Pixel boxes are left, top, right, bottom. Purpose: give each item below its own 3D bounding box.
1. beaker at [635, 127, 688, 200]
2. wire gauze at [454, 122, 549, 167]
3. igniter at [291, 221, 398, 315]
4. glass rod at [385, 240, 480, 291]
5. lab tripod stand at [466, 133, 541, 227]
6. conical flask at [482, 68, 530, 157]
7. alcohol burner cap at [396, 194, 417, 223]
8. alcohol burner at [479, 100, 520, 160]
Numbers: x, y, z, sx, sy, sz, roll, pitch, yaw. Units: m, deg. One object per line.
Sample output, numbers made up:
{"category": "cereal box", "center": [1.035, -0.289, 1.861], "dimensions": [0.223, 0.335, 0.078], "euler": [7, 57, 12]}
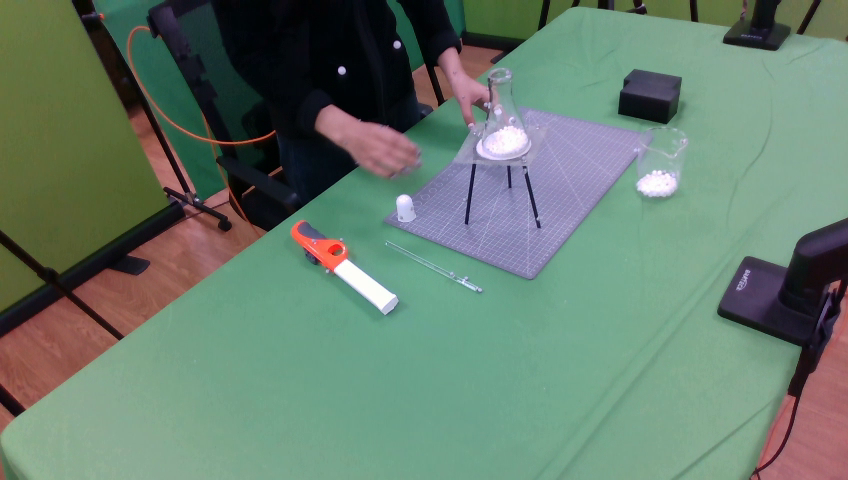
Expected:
{"category": "beaker", "center": [0.388, -0.122, 0.994], "dimensions": [0.074, 0.101, 0.083], "euler": [-8, 40, 2]}
{"category": "wire gauze", "center": [0.122, -0.149, 0.943], "dimensions": [0.121, 0.011, 0.125], "euler": [7, 44, 22]}
{"category": "igniter", "center": [-0.136, 0.037, 0.962], "dimensions": [0.057, 0.025, 0.274], "euler": [-41, 48, -18]}
{"category": "glass rod", "center": [0.009, 0.037, 0.950], "dimensions": [0.198, 0.008, 0.008], "euler": [26, 52, 34]}
{"category": "lab tripod stand", "center": [0.130, -0.099, 0.985], "dimensions": [0.148, 0.132, 0.147], "euler": [-6, 38, 6]}
{"category": "conical flask", "center": [0.118, -0.192, 0.902], "dimensions": [0.075, 0.122, 0.075], "euler": [-7, 39, 6]}
{"category": "alcohol burner cap", "center": [-0.032, -0.056, 1.036], "dimensions": [0.034, 0.048, 0.033], "euler": [-7, 40, 6]}
{"category": "alcohol burner", "center": [0.139, -0.207, 1.126], "dimensions": [0.078, 0.120, 0.077], "euler": [-7, 41, 7]}
